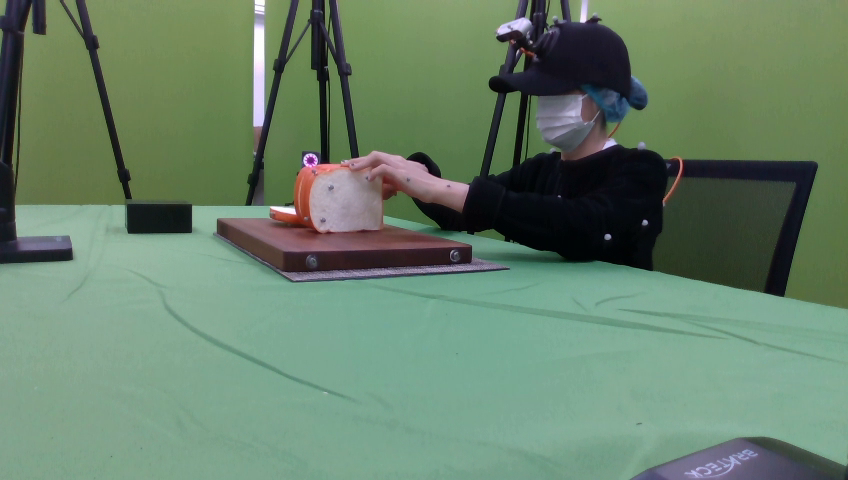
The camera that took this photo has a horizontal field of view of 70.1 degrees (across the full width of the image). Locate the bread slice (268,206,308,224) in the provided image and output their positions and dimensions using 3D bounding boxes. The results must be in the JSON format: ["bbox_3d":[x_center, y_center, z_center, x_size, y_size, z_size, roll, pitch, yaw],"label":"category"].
[{"bbox_3d":[-0.195,-0.040,1.015,0.132,0.019,0.104,2,8,-37],"label":"bread slice"}]

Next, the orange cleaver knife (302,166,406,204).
[{"bbox_3d":[-0.112,-0.077,1.011,0.212,0.077,0.012,1,-4,-44],"label":"orange cleaver knife"}]

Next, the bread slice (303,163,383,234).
[{"bbox_3d":[-0.120,-0.059,0.919,0.135,0.107,0.018,-12,16,-37],"label":"bread slice"}]
